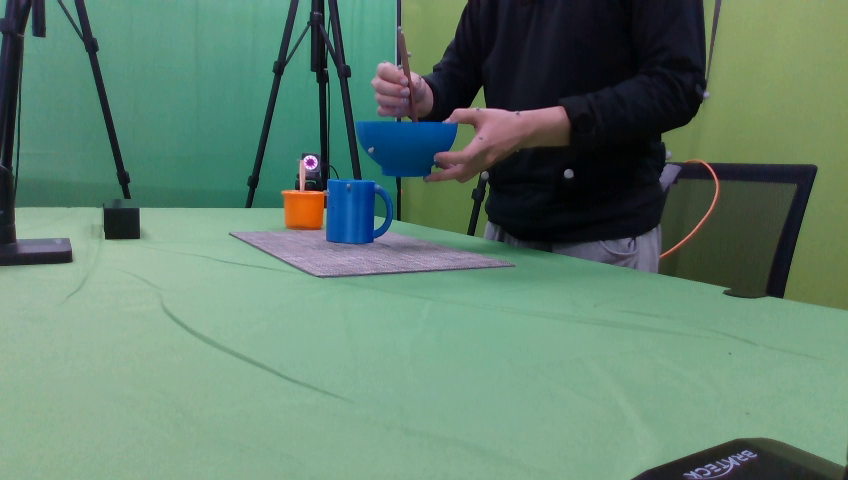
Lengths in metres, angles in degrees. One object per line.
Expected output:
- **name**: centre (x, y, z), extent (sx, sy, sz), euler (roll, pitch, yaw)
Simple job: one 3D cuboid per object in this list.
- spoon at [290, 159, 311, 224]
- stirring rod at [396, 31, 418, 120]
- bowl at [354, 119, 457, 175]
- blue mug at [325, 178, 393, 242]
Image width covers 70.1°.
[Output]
- **spoon**: centre (-0.256, -0.104, 1.265), extent (0.042, 0.193, 0.021), euler (1, -37, -9)
- **stirring rod**: centre (-0.021, -0.214, 0.883), extent (0.006, 0.176, 0.014), euler (-16, 12, -29)
- **bowl**: centre (-0.027, -0.136, 0.883), extent (0.151, 0.077, 0.151), euler (1, 12, 0)
- **blue mug**: centre (-0.111, -0.052, 1.034), extent (0.116, 0.106, 0.082), euler (3, 7, 7)
